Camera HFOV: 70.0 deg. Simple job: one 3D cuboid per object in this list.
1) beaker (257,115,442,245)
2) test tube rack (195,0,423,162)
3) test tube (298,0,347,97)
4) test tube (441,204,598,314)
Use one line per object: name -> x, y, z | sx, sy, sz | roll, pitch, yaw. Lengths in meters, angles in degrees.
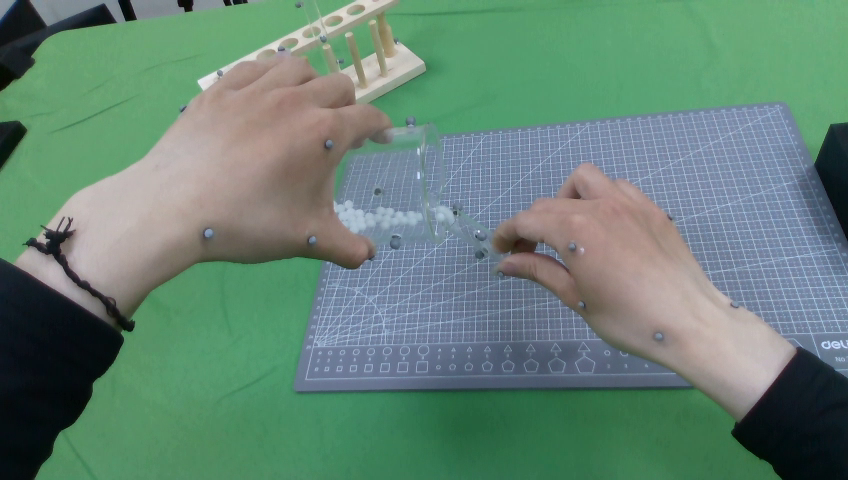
beaker -> -0.042, -0.034, 0.374 | 0.100, 0.084, 0.073 | -3, 81, 11
test tube rack -> -0.126, -0.195, 0.700 | 0.242, 0.086, 0.066 | -32, 52, -12
test tube -> -0.112, -0.220, 0.658 | 0.017, 0.152, 0.017 | -7, 50, 9
test tube -> 0.071, 0.017, 0.423 | 0.017, 0.151, 0.017 | -39, 33, 33
